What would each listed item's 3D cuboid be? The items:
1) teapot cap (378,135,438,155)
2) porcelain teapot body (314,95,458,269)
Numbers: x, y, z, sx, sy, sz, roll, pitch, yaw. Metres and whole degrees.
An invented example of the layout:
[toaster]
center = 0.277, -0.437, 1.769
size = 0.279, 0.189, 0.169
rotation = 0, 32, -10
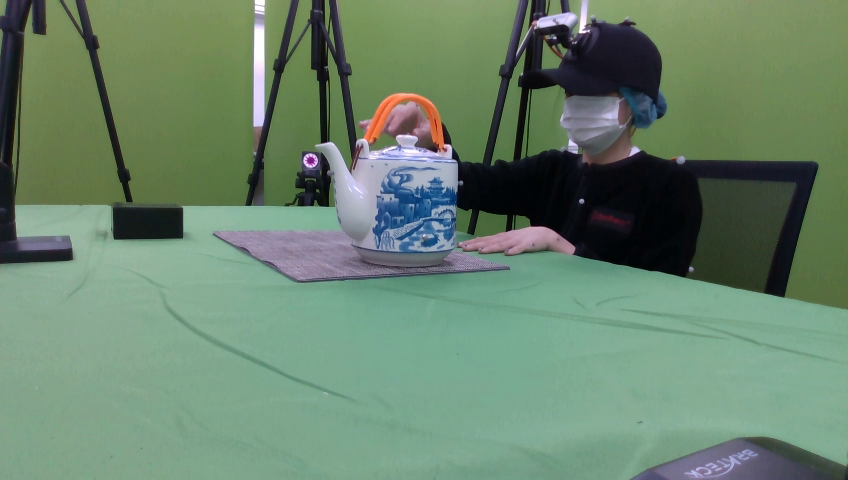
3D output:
[teapot cap]
center = -0.023, -0.119, 0.812
size = 0.085, 0.044, 0.085
rotation = 3, 9, 0
[porcelain teapot body]
center = -0.049, -0.079, 0.800
size = 0.206, 0.225, 0.144
rotation = -3, 9, -37
